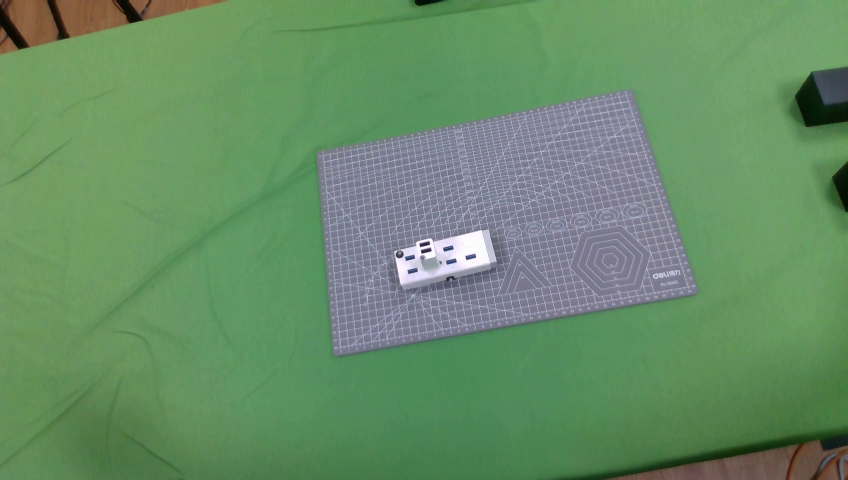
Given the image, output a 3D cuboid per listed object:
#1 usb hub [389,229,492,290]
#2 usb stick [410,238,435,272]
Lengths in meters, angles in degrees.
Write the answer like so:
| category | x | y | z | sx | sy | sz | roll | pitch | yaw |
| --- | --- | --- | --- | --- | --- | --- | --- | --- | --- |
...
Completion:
| category | x | y | z | sx | sy | sz | roll | pitch | yaw |
| --- | --- | --- | --- | --- | --- | --- | --- | --- | --- |
| usb hub | 0.020 | 0.024 | 0.769 | 0.125 | 0.025 | 0.049 | -14 | 67 | 2 |
| usb stick | 0.000 | 0.021 | 0.741 | 0.021 | 0.059 | 0.027 | -17 | 65 | 2 |
